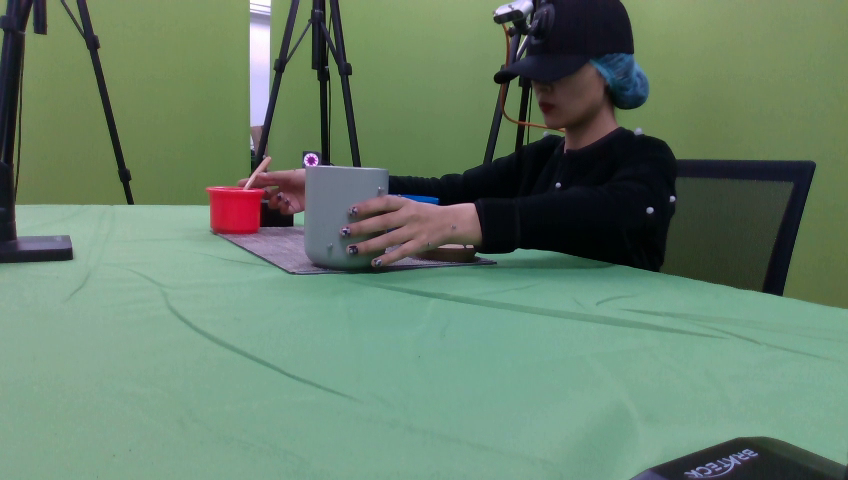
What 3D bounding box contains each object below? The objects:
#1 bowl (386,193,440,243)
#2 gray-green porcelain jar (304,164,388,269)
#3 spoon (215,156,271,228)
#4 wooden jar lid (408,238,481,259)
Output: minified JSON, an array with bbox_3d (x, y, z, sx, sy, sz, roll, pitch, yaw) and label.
[{"bbox_3d":[-0.050,-0.038,1.033,0.151,0.077,0.151,3,7,0],"label":"bowl"},{"bbox_3d":[-0.099,-0.031,0.770,0.106,0.126,0.106,2,7,0],"label":"gray-green porcelain jar"},{"bbox_3d":[-0.319,-0.090,1.091,0.041,0.022,0.193,7,52,17],"label":"spoon"},{"bbox_3d":[0.031,0.012,0.895,0.108,0.020,0.108,2,8,0],"label":"wooden jar lid"}]
